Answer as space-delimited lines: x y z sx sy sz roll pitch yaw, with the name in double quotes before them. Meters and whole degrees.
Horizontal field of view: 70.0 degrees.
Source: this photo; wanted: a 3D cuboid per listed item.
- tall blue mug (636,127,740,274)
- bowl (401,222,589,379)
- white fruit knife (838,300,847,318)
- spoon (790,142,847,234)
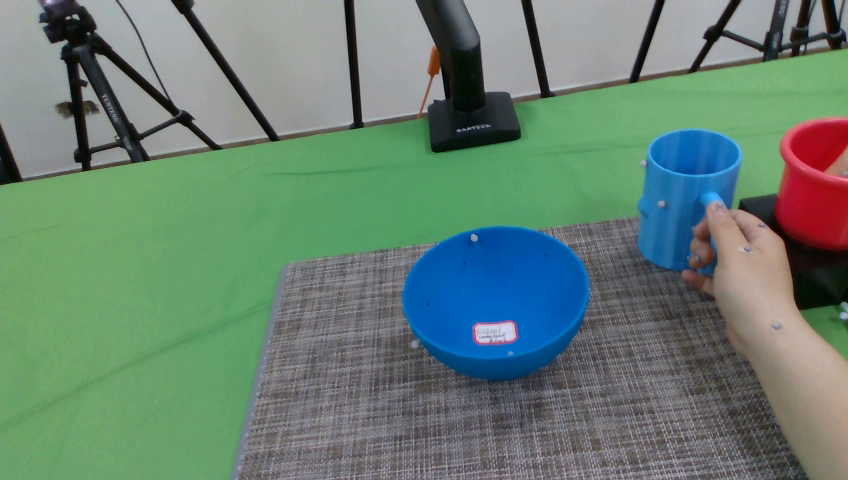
"tall blue mug" 0.247 -0.030 0.547 0.078 0.109 0.106 -26 42 -17
"bowl" 0.061 0.063 0.508 0.151 0.077 0.150 -7 41 6
"white fruit knife" 0.355 0.116 0.433 0.027 0.016 0.205 14 36 -13
"spoon" 0.359 -0.092 0.494 0.041 0.022 0.194 30 100 40
